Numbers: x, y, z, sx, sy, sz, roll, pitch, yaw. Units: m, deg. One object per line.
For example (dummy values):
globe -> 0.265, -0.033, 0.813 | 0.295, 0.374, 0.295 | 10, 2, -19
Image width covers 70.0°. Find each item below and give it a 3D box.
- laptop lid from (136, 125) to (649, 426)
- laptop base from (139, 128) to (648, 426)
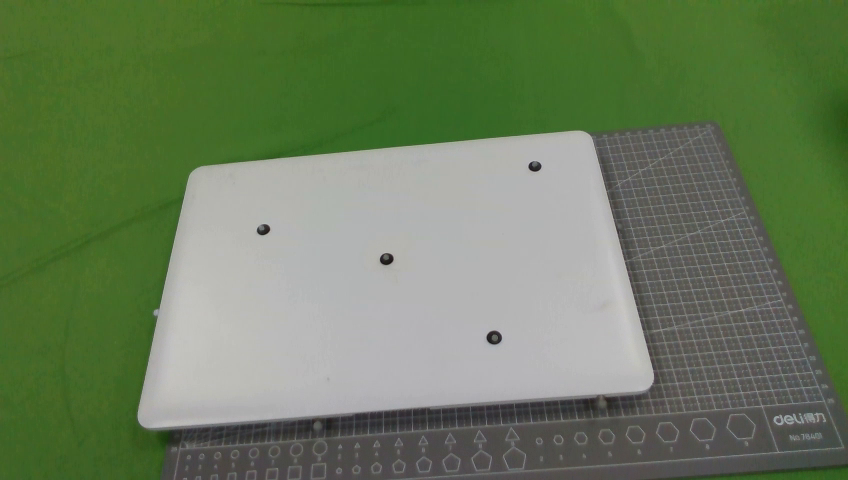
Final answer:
laptop lid -> -0.030, 0.014, 0.465 | 0.356, 0.013, 0.239 | -4, 58, 4
laptop base -> -0.029, 0.019, 0.476 | 0.354, 0.023, 0.233 | -5, 59, 3
